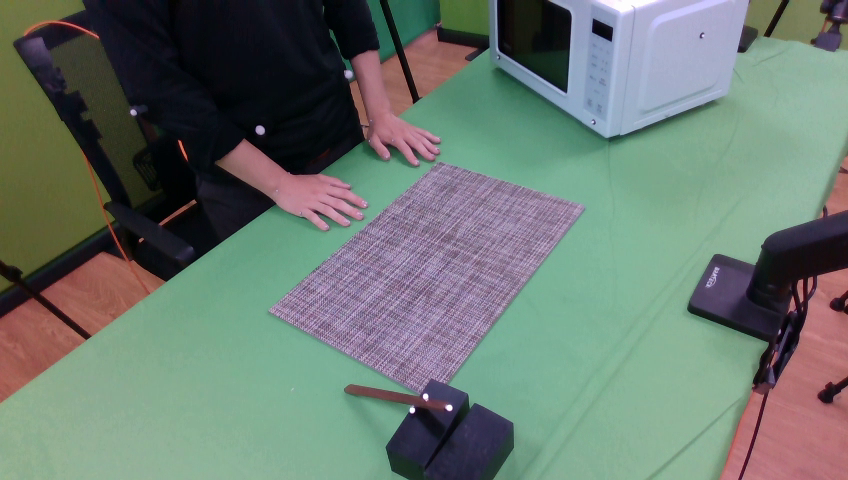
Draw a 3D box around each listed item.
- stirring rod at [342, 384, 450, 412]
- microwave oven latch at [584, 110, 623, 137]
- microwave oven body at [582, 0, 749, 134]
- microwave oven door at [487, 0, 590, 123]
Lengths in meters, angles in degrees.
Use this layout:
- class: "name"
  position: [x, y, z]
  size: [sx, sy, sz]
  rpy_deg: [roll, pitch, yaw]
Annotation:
- class: "stirring rod"
  position: [-0.038, 0.186, 0.714]
  size: [0.175, 0.006, 0.014]
  rpy_deg: [-3, 22, 43]
- class: "microwave oven latch"
  position: [0.337, -0.222, 1.142]
  size: [0.030, 0.029, 0.078]
  rpy_deg: [-21, 42, -14]
- class: "microwave oven body"
  position: [0.382, -0.444, 1.246]
  size: [0.327, 0.261, 0.437]
  rpy_deg: [-22, 42, -16]
- class: "microwave oven door"
  position: [0.232, -0.420, 1.231]
  size: [0.039, 0.245, 0.352]
  rpy_deg: [-22, 43, -16]
